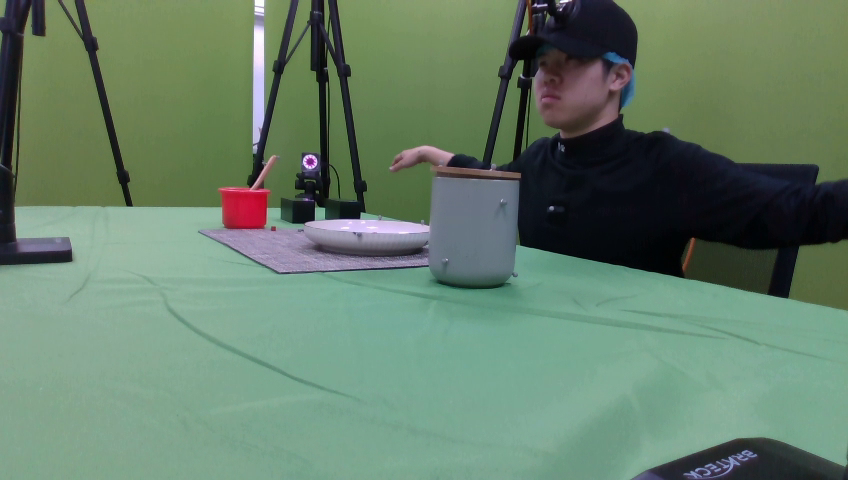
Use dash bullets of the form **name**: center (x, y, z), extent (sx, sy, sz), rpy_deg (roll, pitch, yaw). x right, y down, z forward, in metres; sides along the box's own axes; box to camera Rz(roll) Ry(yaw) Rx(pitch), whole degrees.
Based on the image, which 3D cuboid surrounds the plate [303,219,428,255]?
- **plate**: center (-0.085, -0.005, 0.952), extent (0.208, 0.039, 0.207), rpy_deg (3, 7, 0)

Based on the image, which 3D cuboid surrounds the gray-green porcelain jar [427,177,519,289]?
- **gray-green porcelain jar**: center (0.057, -0.010, 0.722), extent (0.106, 0.126, 0.106), rpy_deg (2, 7, 0)

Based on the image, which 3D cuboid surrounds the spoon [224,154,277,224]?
- **spoon**: center (-0.345, -0.106, 1.214), extent (0.041, 0.022, 0.194), rpy_deg (1, 45, 26)

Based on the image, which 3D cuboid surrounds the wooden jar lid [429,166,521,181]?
- **wooden jar lid**: center (0.059, -0.074, 0.714), extent (0.108, 0.020, 0.108), rpy_deg (4, 6, 0)
